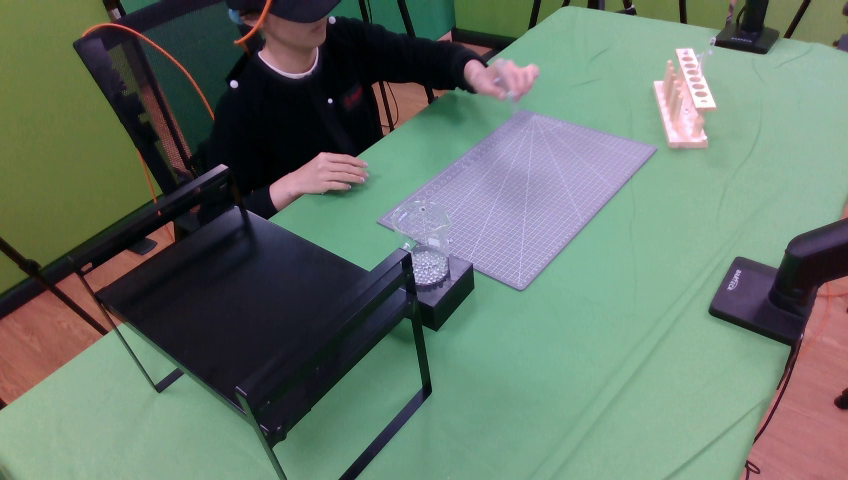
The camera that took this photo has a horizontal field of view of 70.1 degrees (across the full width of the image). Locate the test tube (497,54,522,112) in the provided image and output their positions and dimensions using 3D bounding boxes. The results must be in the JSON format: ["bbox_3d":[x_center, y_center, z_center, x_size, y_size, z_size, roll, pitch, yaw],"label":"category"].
[{"bbox_3d":[0.144,-0.257,1.006,0.017,0.151,0.017,-7,67,17],"label":"test tube"}]

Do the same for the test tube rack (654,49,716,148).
[{"bbox_3d":[0.502,-0.281,1.176,0.066,0.085,0.241,2,41,11],"label":"test tube rack"}]

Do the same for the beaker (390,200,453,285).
[{"bbox_3d":[0.002,0.006,0.831,0.084,0.101,0.074,5,42,13],"label":"beaker"}]

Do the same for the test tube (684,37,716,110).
[{"bbox_3d":[0.513,-0.306,1.126,0.017,0.151,0.017,-1,48,1],"label":"test tube"}]
